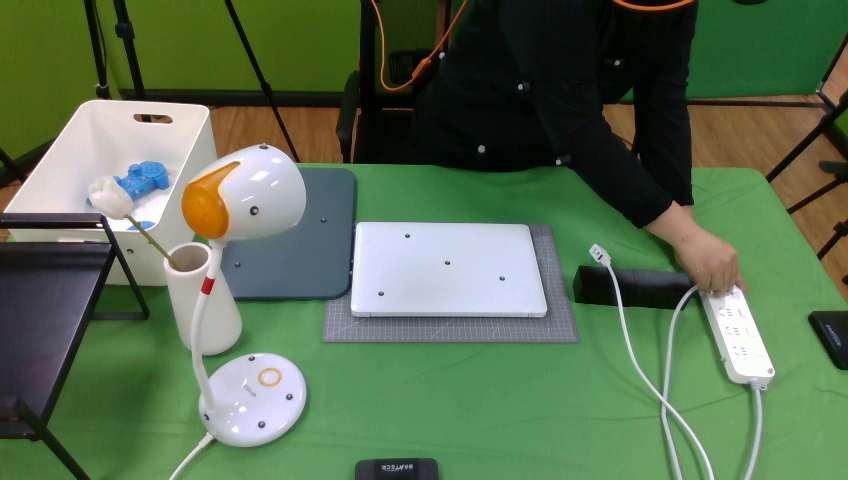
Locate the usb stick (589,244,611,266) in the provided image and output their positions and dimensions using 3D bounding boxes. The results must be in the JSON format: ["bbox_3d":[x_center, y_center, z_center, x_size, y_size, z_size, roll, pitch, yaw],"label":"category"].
[{"bbox_3d":[0.339,0.025,1.172,0.027,0.021,0.059,29,19,-8],"label":"usb stick"}]

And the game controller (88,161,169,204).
[{"bbox_3d":[-0.597,-0.113,1.234,0.097,0.052,0.155,29,52,19],"label":"game controller"}]

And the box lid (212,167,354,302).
[{"bbox_3d":[-0.276,-0.024,1.205,0.263,0.015,0.369,0,46,-4],"label":"box lid"}]

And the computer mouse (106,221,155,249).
[{"bbox_3d":[-0.536,0.009,1.127,0.062,0.041,0.117,31,55,21],"label":"computer mouse"}]

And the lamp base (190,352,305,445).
[{"bbox_3d":[-0.267,0.197,0.876,0.160,0.181,0.179,26,52,20],"label":"lamp base"}]

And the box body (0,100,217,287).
[{"bbox_3d":[-0.559,-0.092,1.144,0.254,0.161,0.361,3,46,-2],"label":"box body"}]

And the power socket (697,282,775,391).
[{"bbox_3d":[0.551,0.160,1.079,0.072,0.033,0.225,3,46,0],"label":"power socket"}]

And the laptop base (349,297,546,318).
[{"bbox_3d":[0.041,0.056,1.149,0.355,0.023,0.234,1,43,-4],"label":"laptop base"}]

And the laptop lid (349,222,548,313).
[{"bbox_3d":[0.042,0.046,1.143,0.357,0.013,0.240,2,44,-3],"label":"laptop lid"}]

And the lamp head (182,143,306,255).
[{"bbox_3d":[-0.215,-0.044,0.697,0.112,0.113,0.123,23,31,17],"label":"lamp head"}]

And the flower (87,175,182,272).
[{"bbox_3d":[-0.368,0.039,0.893,0.038,0.364,0.044,-3,53,14],"label":"flower"}]

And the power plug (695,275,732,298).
[{"bbox_3d":[0.520,0.083,1.098,0.072,0.053,0.035,7,49,6],"label":"power plug"}]

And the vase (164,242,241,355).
[{"bbox_3d":[-0.349,0.096,0.954,0.098,0.201,0.097,3,47,-3],"label":"vase"}]
